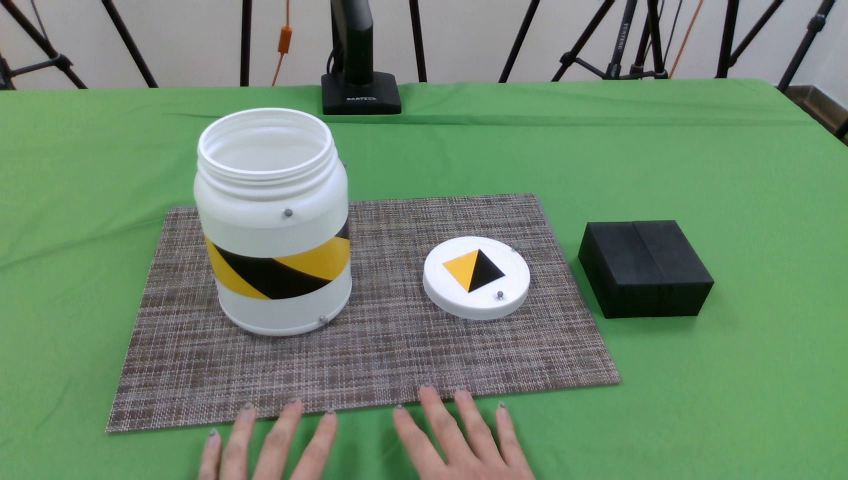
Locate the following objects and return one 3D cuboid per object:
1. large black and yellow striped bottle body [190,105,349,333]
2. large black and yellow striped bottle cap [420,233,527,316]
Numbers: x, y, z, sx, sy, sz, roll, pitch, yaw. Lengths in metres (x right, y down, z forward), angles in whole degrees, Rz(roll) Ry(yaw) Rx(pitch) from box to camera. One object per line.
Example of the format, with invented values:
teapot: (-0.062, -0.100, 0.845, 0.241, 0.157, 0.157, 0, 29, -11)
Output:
large black and yellow striped bottle body: (-0.139, -0.018, 0.564, 0.131, 0.185, 0.129, 2, 41, -2)
large black and yellow striped bottle cap: (0.053, 0.034, 0.649, 0.115, 0.019, 0.114, 2, 40, -1)
